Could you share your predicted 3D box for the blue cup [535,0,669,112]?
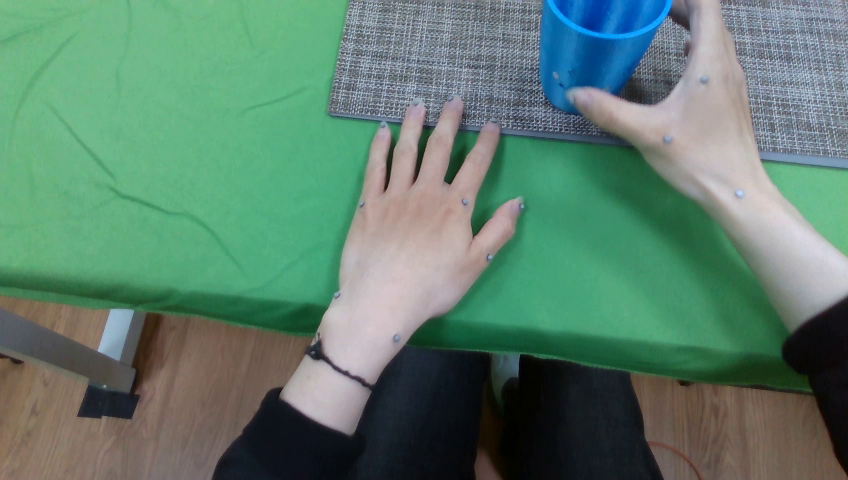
[{"bbox_3d":[0.120,-0.147,0.445,0.092,0.101,0.092,0,67,1],"label":"blue cup"}]
